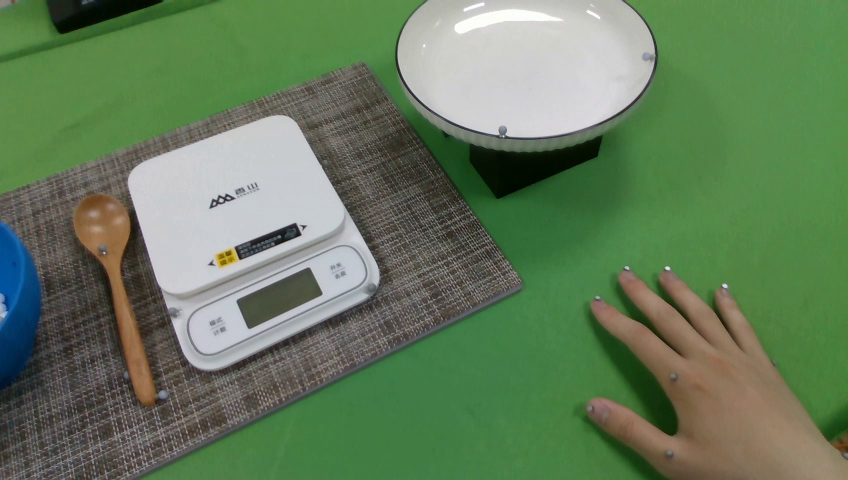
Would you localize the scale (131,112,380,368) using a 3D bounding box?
[{"bbox_3d":[-0.137,-0.011,0.477,0.149,0.032,0.199,-25,58,-13],"label":"scale"}]

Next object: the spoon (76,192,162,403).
[{"bbox_3d":[-0.227,0.037,0.456,0.042,0.022,0.191,-15,55,-25],"label":"spoon"}]

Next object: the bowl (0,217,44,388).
[{"bbox_3d":[-0.324,0.060,0.411,0.151,0.077,0.150,-1,55,2],"label":"bowl"}]

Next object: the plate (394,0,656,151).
[{"bbox_3d":[0.079,-0.147,0.498,0.209,0.038,0.207,-1,56,2],"label":"plate"}]
